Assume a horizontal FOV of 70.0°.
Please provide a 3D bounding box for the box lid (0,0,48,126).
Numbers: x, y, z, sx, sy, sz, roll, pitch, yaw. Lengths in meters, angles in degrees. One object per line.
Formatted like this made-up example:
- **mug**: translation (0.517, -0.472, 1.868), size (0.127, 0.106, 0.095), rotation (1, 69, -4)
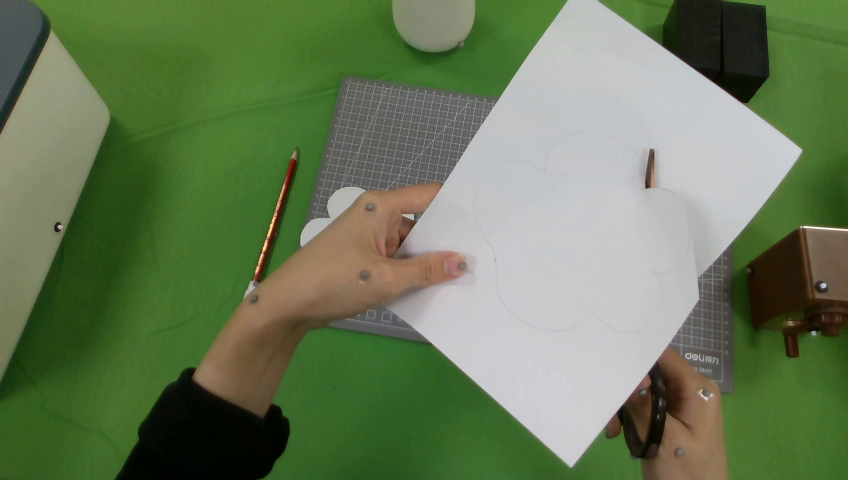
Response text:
- **box lid**: translation (-0.499, -0.072, 0.503), size (0.263, 0.015, 0.369), rotation (9, 69, 3)

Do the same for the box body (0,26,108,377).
- **box body**: translation (-0.498, -0.042, 0.572), size (0.254, 0.161, 0.361), rotation (9, 69, 4)

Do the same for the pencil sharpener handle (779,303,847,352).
- **pencil sharpener handle**: translation (0.348, 0.079, 0.541), size (0.036, 0.068, 0.030), rotation (10, 68, -12)

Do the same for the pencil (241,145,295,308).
- **pencil**: translation (-0.163, -0.020, 0.647), size (0.012, 0.012, 0.193), rotation (9, 67, 4)

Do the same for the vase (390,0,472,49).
- **vase**: translation (0.006, -0.302, 0.653), size (0.098, 0.201, 0.097), rotation (0, 67, 1)

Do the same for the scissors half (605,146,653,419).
- **scissors half**: translation (0.124, 0.030, 0.364), size (0.013, 0.040, 0.176), rotation (1, 113, 2)

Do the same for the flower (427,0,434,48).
- **flower**: translation (0.001, -0.346, 0.581), size (0.044, 0.365, 0.038), rotation (2, 51, 5)

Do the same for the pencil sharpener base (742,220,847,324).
- **pencil sharpener base**: translation (0.356, 0.037, 0.571), size (0.061, 0.108, 0.076), rotation (4, 69, 2)

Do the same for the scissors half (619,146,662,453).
- **scissors half**: translation (0.124, 0.035, 0.343), size (0.013, 0.040, 0.175), rotation (0, 90, -3)
